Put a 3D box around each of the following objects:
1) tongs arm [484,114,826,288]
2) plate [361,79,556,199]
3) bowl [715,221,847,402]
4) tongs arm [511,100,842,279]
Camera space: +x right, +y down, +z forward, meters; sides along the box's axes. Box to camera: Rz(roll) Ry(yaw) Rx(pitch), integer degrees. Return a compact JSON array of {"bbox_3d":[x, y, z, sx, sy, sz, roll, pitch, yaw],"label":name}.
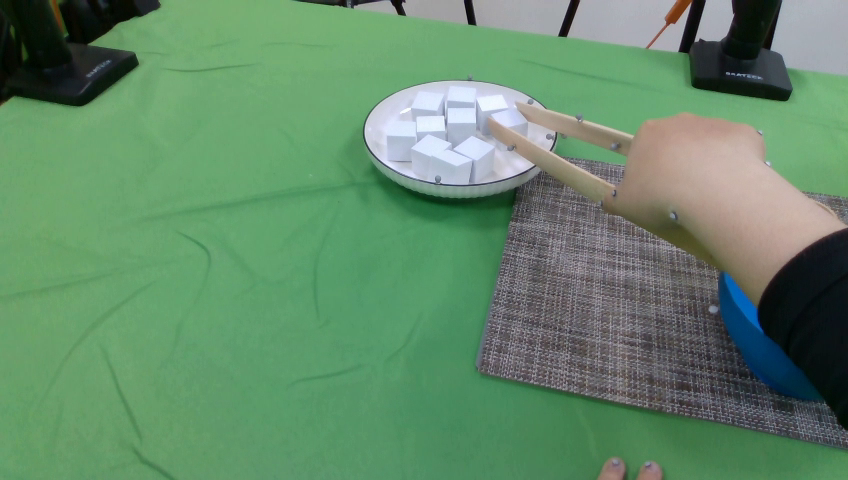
[{"bbox_3d":[0.139,-0.053,0.493,0.028,0.028,0.383,-26,30,-10],"label":"tongs arm"},{"bbox_3d":[0.036,-0.108,0.656,0.209,0.038,0.207,0,43,0],"label":"plate"},{"bbox_3d":[0.284,0.064,0.448,0.151,0.077,0.150,1,44,0],"label":"bowl"},{"bbox_3d":[0.161,-0.065,0.496,0.051,0.027,0.381,-31,31,-12],"label":"tongs arm"}]
